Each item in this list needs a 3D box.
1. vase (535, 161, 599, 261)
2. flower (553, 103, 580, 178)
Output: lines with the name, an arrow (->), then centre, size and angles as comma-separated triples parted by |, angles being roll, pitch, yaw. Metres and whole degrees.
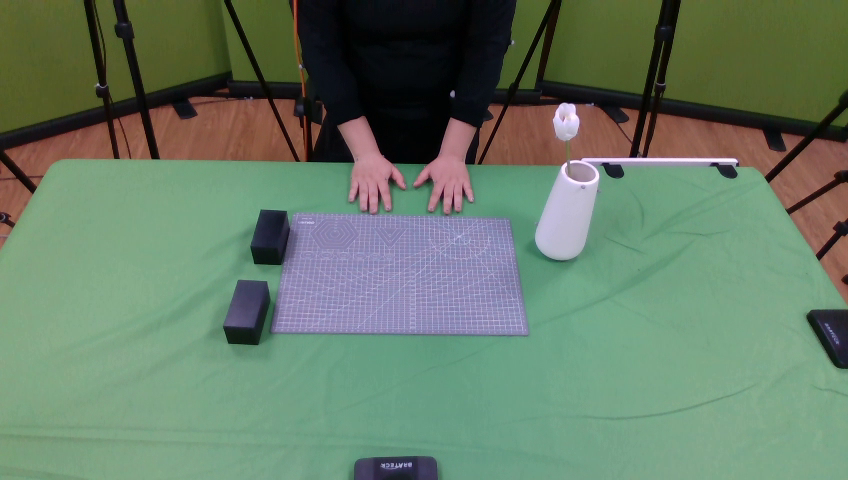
vase -> 0.271, -0.051, 1.145 | 0.098, 0.201, 0.097 | 1, 46, -1
flower -> 0.258, -0.102, 1.079 | 0.038, 0.364, 0.043 | -24, 54, -1
